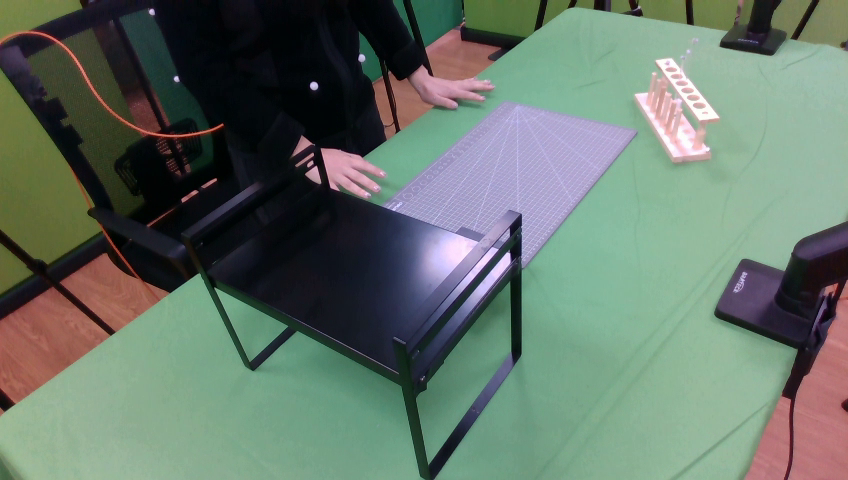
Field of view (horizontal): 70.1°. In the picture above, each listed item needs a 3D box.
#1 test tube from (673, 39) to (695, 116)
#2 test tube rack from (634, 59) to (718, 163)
[{"bbox_3d":[0.482,-0.300,1.128,0.017,0.151,0.017,-2,39,2],"label":"test tube"},{"bbox_3d":[0.470,-0.250,1.148,0.067,0.085,0.241,-6,40,3],"label":"test tube rack"}]
